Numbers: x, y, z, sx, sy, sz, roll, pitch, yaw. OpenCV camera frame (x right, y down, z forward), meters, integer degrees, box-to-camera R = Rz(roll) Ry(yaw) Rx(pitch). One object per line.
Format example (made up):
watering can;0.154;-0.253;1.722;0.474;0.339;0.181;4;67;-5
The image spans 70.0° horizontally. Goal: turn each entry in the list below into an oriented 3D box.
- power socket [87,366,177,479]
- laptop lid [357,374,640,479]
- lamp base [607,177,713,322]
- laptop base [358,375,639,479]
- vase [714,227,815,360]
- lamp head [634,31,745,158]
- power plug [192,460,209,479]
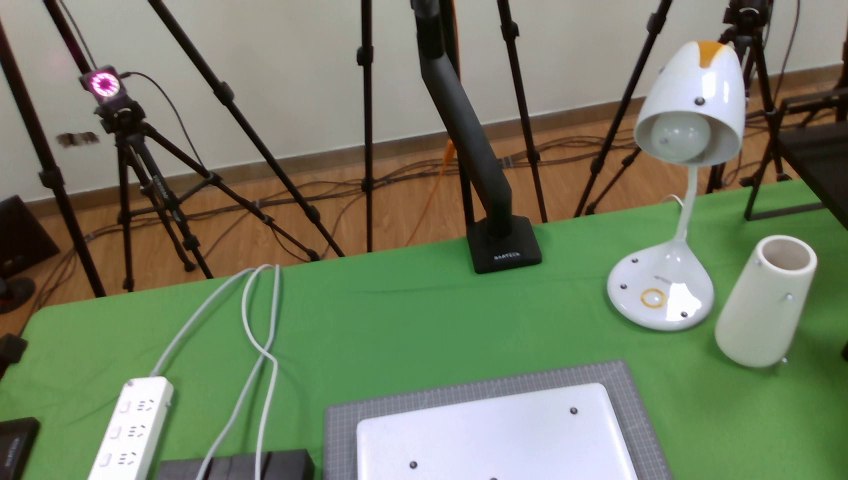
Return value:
power socket;-0.423;0.282;0.881;0.072;0.033;0.224;-4;45;4
laptop lid;0.091;0.299;0.776;0.357;0.013;0.239;-8;48;2
lamp base;0.372;0.003;0.922;0.159;0.182;0.178;17;48;23
laptop base;0.092;0.305;0.786;0.354;0.023;0.233;-9;49;0
vase;0.461;0.075;0.824;0.098;0.202;0.097;-6;44;6
lamp head;0.303;-0.166;0.676;0.112;0.113;0.122;14;68;21
power plug;-0.282;0.329;0.777;0.035;0.053;0.072;10;53;44
